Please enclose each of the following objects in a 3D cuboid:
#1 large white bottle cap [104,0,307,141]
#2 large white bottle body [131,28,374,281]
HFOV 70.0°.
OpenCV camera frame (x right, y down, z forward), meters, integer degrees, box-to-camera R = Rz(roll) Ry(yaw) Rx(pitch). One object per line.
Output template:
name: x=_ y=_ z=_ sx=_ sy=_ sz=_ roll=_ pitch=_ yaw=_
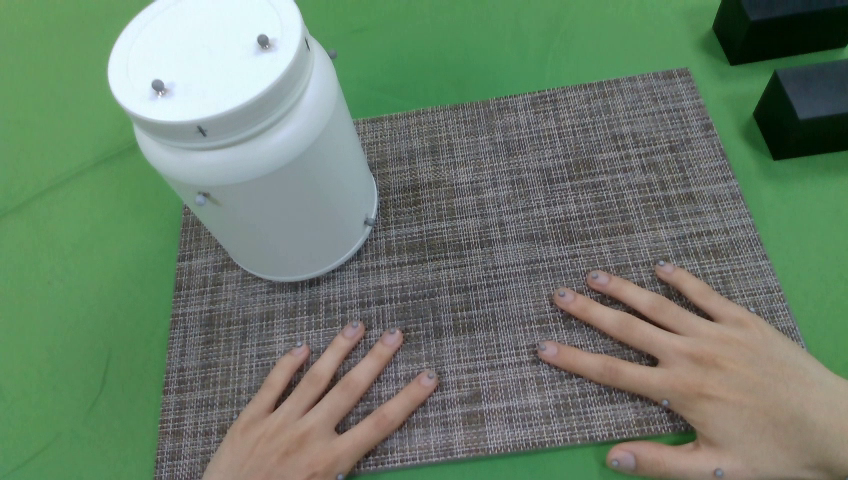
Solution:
large white bottle cap: x=-0.125 y=-0.106 z=0.349 sx=0.115 sy=0.018 sz=0.114 roll=-3 pitch=61 yaw=6
large white bottle body: x=-0.114 y=-0.066 z=0.422 sx=0.130 sy=0.186 sz=0.129 roll=-3 pitch=60 yaw=6
